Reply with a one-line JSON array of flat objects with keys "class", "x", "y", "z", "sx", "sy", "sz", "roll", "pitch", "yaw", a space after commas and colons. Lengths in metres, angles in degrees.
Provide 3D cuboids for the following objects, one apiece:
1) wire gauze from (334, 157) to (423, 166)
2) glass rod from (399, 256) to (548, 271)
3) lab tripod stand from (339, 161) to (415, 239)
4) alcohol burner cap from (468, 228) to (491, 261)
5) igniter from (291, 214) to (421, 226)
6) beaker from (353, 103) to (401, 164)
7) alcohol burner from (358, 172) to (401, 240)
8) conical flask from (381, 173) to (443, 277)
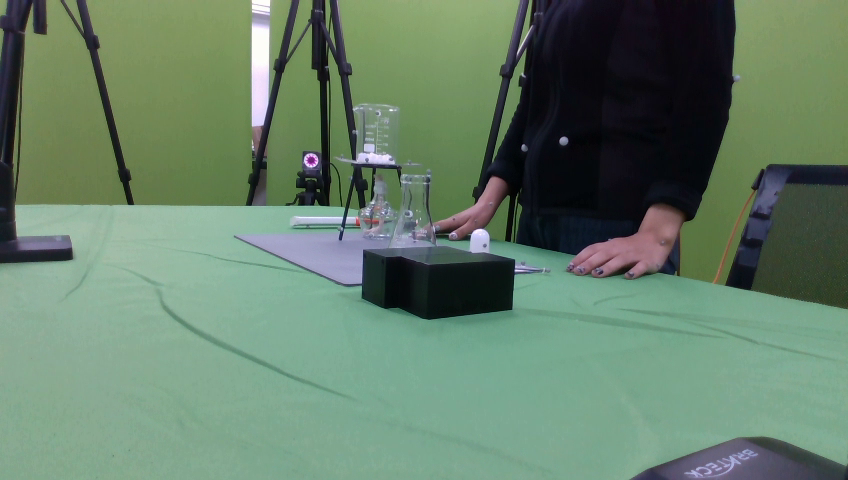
[{"class": "wire gauze", "x": -0.081, "y": -0.135, "z": 1.051, "sx": 0.122, "sy": 0.011, "sz": 0.124, "roll": 1, "pitch": 6, "yaw": -30}, {"class": "glass rod", "x": 0.064, "y": 0.030, "z": 0.806, "sx": 0.199, "sy": 0.008, "sz": 0.008, "roll": 4, "pitch": 7, "yaw": 10}, {"class": "lab tripod stand", "x": -0.082, "y": -0.070, "z": 1.059, "sx": 0.148, "sy": 0.131, "sz": 0.148, "roll": 4, "pitch": 6, "yaw": 0}, {"class": "alcohol burner cap", "x": 0.082, "y": 0.006, "z": 0.878, "sx": 0.034, "sy": 0.048, "sz": 0.034, "roll": 3, "pitch": 6, "yaw": 0}, {"class": "igniter", "x": -0.135, "y": -0.041, "z": 1.250, "sx": 0.278, "sy": 0.025, "sz": 0.057, "roll": -1, "pitch": -2, "yaw": -28}, {"class": "beaker", "x": -0.084, "y": -0.183, "z": 1.045, "sx": 0.084, "sy": 0.100, "sz": 0.074, "roll": 4, "pitch": 6, "yaw": 3}, {"class": "alcohol burner", "x": -0.077, "y": -0.061, "z": 1.065, "sx": 0.078, "sy": 0.119, "sz": 0.078, "roll": 4, "pitch": 9, "yaw": 0}, {"class": "conical flask", "x": -0.012, "y": -0.020, "z": 0.731, "sx": 0.075, "sy": 0.122, "sz": 0.075, "roll": 2, "pitch": 7, "yaw": 0}]
